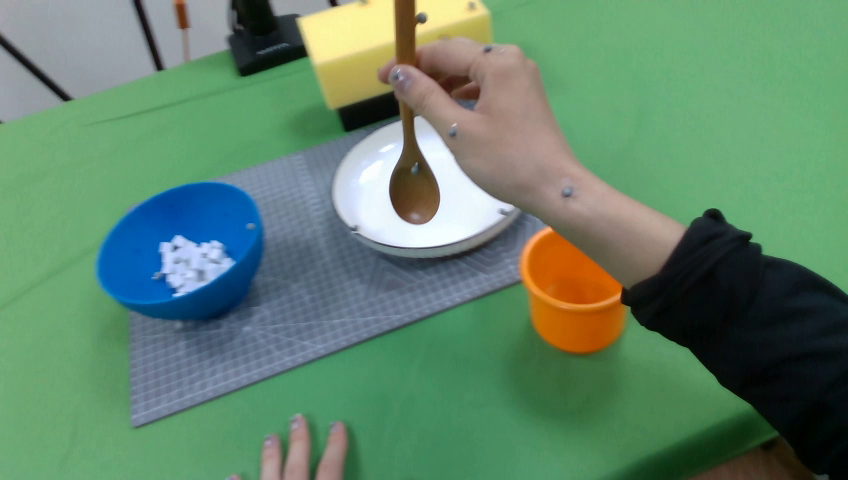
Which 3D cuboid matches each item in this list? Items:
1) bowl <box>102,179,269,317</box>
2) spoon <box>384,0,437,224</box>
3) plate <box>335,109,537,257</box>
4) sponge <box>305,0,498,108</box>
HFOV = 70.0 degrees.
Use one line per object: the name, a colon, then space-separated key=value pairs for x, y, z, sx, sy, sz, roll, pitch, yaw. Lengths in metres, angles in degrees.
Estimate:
bowl: x=-0.211 y=0.021 z=0.577 sx=0.151 sy=0.077 sz=0.150 roll=-6 pitch=47 yaw=7
spoon: x=-0.013 y=-0.080 z=0.400 sx=0.041 sy=0.195 sz=0.021 roll=13 pitch=54 yaw=12
plate: x=0.013 y=-0.059 z=0.630 sx=0.209 sy=0.038 sz=0.207 roll=-6 pitch=48 yaw=7
sponge: x=-0.027 y=-0.242 z=0.726 sx=0.207 sy=0.061 sz=0.117 roll=-19 pitch=48 yaw=-6
